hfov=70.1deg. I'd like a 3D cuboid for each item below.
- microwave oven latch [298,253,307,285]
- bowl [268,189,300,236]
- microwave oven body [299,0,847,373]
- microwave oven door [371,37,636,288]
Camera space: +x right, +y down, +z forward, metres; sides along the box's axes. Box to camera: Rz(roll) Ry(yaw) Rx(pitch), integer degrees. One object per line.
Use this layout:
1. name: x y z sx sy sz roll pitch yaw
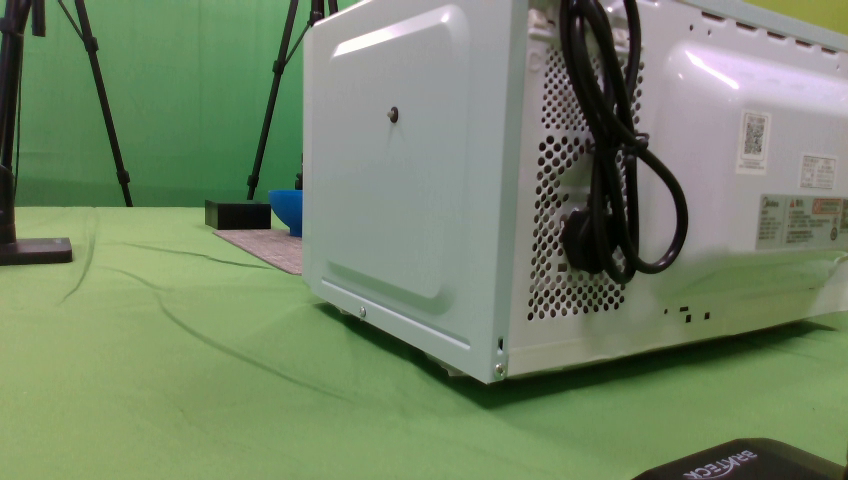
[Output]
1. microwave oven latch: -0.081 0.027 0.582 0.079 0.029 0.030 -1 7 -32
2. bowl: -0.205 -0.049 1.090 0.151 0.077 0.151 3 7 0
3. microwave oven body: 0.151 -0.055 0.542 0.444 0.260 0.324 -2 7 -33
4. microwave oven door: 0.109 -0.080 0.686 0.358 0.243 0.039 -2 9 -33
